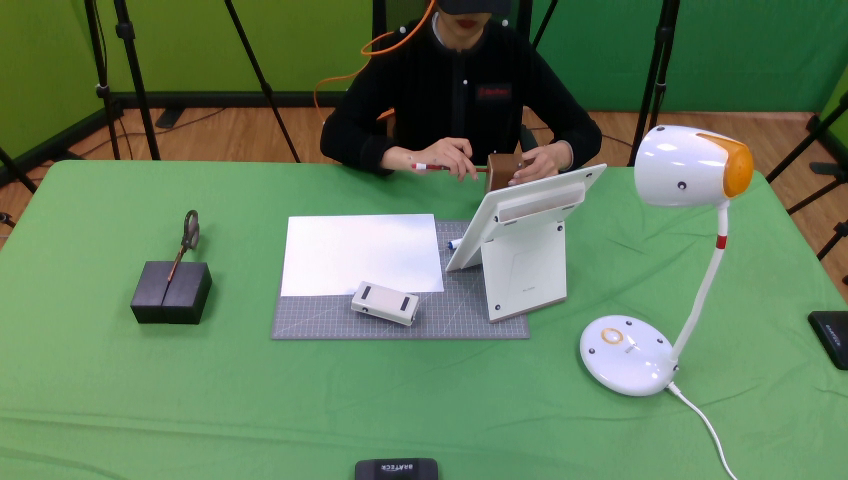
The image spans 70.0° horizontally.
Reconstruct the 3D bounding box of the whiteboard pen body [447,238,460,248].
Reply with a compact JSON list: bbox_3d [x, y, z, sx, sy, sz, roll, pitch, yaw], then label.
[{"bbox_3d":[0.112,-0.005,1.203,0.141,0.017,0.017,-14,49,-18],"label":"whiteboard pen body"}]

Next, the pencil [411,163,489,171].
[{"bbox_3d":[0.070,-0.146,1.221,0.194,0.012,0.012,1,46,-8],"label":"pencil"}]

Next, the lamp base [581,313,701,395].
[{"bbox_3d":[0.361,0.144,0.973,0.178,0.181,0.160,34,53,23],"label":"lamp base"}]

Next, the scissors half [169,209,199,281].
[{"bbox_3d":[-0.438,0.007,1.098,0.013,0.040,0.174,3,48,-3],"label":"scissors half"}]

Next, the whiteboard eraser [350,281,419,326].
[{"bbox_3d":[-0.069,0.113,1.065,0.112,0.042,0.055,14,46,9],"label":"whiteboard eraser"}]

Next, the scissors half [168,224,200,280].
[{"bbox_3d":[-0.440,0.023,1.111,0.013,0.040,0.174,7,29,-6],"label":"scissors half"}]

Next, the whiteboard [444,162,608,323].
[{"bbox_3d":[0.186,0.025,1.029,0.217,0.306,0.143,-14,68,-18],"label":"whiteboard"}]

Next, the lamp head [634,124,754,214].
[{"bbox_3d":[0.351,-0.089,0.775,0.112,0.113,0.122,-30,30,-28],"label":"lamp head"}]

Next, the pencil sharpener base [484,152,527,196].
[{"bbox_3d":[0.167,-0.121,1.248,0.077,0.107,0.061,-1,42,-3],"label":"pencil sharpener base"}]

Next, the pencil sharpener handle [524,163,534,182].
[{"bbox_3d":[0.218,-0.134,1.245,0.031,0.068,0.036,-1,57,-3],"label":"pencil sharpener handle"}]

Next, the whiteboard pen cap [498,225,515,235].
[{"bbox_3d":[0.166,-0.019,1.222,0.033,0.018,0.018,-15,49,-18],"label":"whiteboard pen cap"}]
